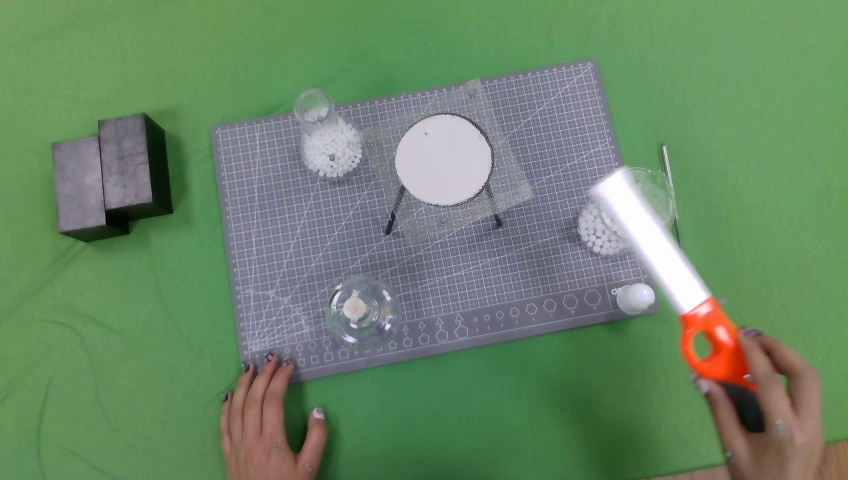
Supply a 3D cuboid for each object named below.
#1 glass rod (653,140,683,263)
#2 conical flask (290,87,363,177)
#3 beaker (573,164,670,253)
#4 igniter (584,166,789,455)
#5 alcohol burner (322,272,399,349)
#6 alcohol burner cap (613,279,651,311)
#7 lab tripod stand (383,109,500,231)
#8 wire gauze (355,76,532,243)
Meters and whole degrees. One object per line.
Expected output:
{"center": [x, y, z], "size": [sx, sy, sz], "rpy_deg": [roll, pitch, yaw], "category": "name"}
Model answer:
{"center": [0.275, -0.016, 0.669], "size": [0.008, 0.008, 0.199], "rpy_deg": [-7, 80, -1], "category": "glass rod"}
{"center": [-0.107, -0.116, 0.626], "size": [0.075, 0.122, 0.075], "rpy_deg": [0, 79, 1], "category": "conical flask"}
{"center": [0.200, -0.029, 0.623], "size": [0.074, 0.100, 0.084], "rpy_deg": [42, 82, 7], "category": "beaker"}
{"center": [0.222, 0.061, 0.504], "size": [0.057, 0.025, 0.277], "rpy_deg": [-35, 94, -3], "category": "igniter"}
{"center": [-0.065, 0.068, 0.599], "size": [0.078, 0.119, 0.077], "rpy_deg": [0, 78, 2], "category": "alcohol burner"}
{"center": [0.221, 0.056, 0.636], "size": [0.034, 0.048, 0.033], "rpy_deg": [0, 80, -1], "category": "alcohol burner cap"}
{"center": [0.015, -0.062, 0.611], "size": [0.148, 0.132, 0.148], "rpy_deg": [0, 82, 1], "category": "lab tripod stand"}
{"center": [0.016, -0.072, 0.544], "size": [0.125, 0.011, 0.121], "rpy_deg": [-23, 81, -3], "category": "wire gauze"}
